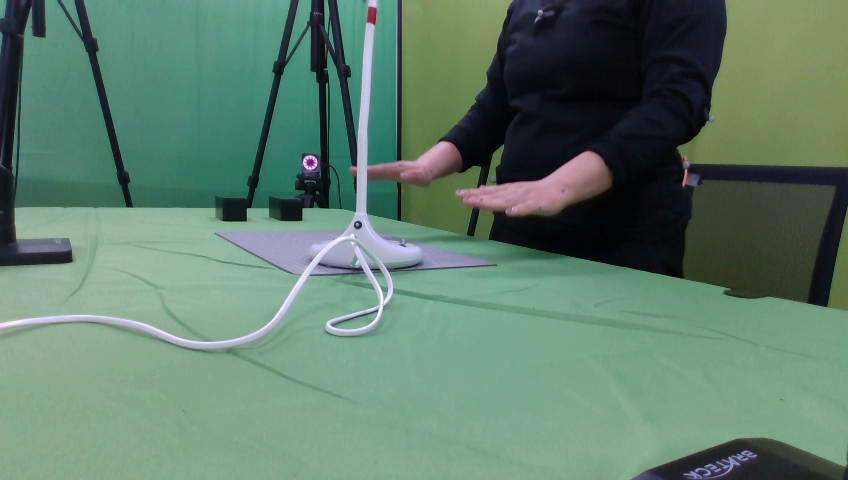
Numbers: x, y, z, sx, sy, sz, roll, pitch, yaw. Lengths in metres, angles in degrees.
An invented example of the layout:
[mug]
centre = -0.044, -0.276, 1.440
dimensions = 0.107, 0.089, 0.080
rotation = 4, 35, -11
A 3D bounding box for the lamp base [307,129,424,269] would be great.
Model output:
[lamp base]
centre = -0.076, -0.057, 0.811
dimensions = 0.161, 0.180, 0.179
rotation = 2, 10, -4
